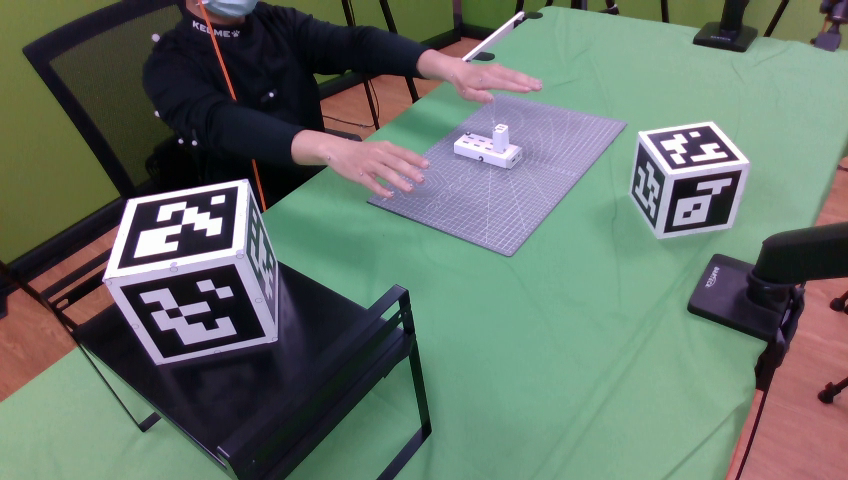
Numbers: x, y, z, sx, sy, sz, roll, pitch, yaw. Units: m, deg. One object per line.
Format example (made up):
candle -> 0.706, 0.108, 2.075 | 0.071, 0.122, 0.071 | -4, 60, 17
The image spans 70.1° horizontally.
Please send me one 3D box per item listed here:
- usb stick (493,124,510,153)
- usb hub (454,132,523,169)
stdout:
usb stick -> 0.142, -0.180, 1.107 | 0.021, 0.059, 0.027 | 18, 46, 29
usb hub -> 0.121, -0.170, 1.144 | 0.124, 0.025, 0.049 | 22, 48, 29
